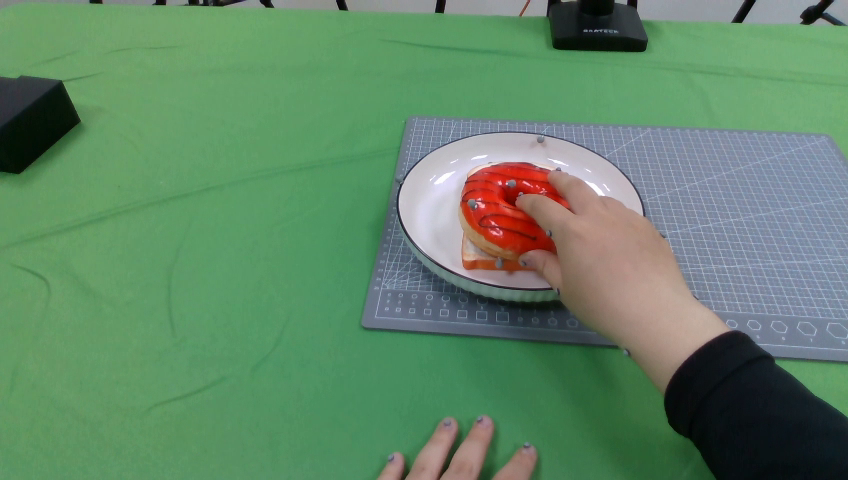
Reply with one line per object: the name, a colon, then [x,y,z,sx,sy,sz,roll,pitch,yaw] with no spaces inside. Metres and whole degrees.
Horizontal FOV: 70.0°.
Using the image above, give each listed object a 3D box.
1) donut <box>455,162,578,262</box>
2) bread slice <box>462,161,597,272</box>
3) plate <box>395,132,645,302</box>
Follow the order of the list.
donut: [0.074,-0.023,0.487,0.099,0.048,0.098,1,47,-1]
bread slice: [0.082,-0.023,0.528,0.107,0.018,0.133,0,44,-2]
plate: [0.080,-0.021,0.523,0.209,0.038,0.207,0,43,0]
